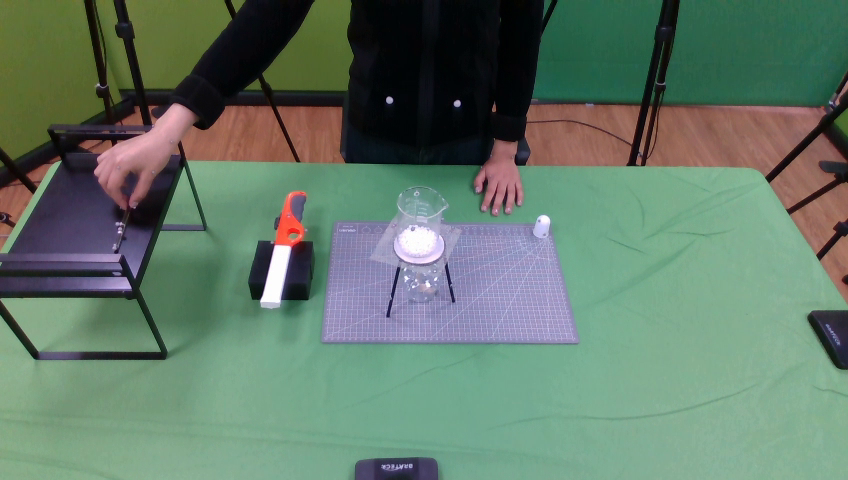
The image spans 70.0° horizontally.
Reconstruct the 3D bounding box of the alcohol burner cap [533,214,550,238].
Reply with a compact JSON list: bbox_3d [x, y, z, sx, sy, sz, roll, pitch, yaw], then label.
[{"bbox_3d":[0.240,-0.031,1.228,0.034,0.048,0.033,1,46,-1],"label":"alcohol burner cap"}]

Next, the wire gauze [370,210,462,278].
[{"bbox_3d":[-0.012,0.007,1.019,0.121,0.011,0.124,16,51,13],"label":"wire gauze"}]

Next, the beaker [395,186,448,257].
[{"bbox_3d":[-0.007,-0.027,0.984,0.084,0.101,0.073,1,48,-4],"label":"beaker"}]

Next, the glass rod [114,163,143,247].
[{"bbox_3d":[-0.475,-0.062,0.978,0.008,0.008,0.198,-3,46,-7],"label":"glass rod"}]

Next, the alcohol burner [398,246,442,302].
[{"bbox_3d":[-0.006,0.054,1.078,0.078,0.119,0.077,3,44,-3],"label":"alcohol burner"}]

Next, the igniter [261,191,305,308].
[{"bbox_3d":[-0.255,0.006,1.104,0.057,0.025,0.275,5,47,-4],"label":"igniter"}]

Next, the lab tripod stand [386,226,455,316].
[{"bbox_3d":[-0.013,0.054,1.064,0.148,0.132,0.147,2,48,-2],"label":"lab tripod stand"}]
